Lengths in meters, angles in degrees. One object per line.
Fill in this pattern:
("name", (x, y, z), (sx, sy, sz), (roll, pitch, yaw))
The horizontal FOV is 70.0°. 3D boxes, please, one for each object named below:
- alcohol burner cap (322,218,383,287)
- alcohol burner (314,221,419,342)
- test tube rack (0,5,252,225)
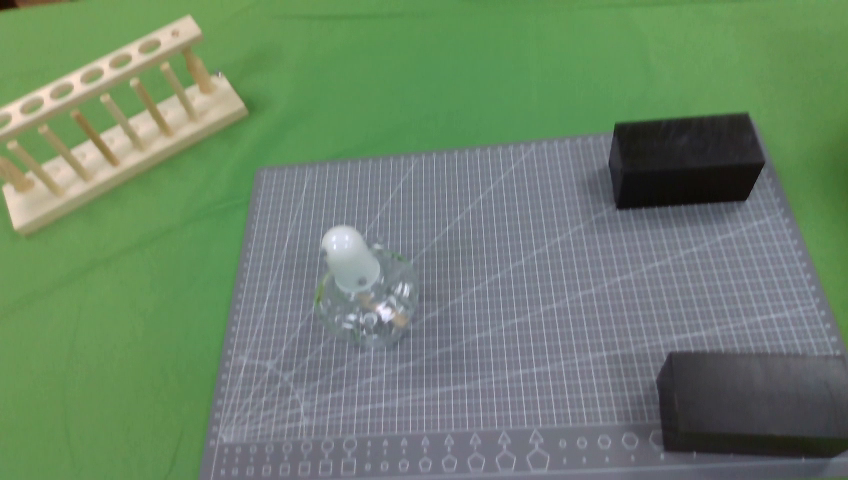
("alcohol burner cap", (-0.049, 0.006, 0.397), (0.034, 0.048, 0.033), (-7, 53, 11))
("alcohol burner", (-0.044, 0.025, 0.427), (0.078, 0.120, 0.077), (-4, 56, 7))
("test tube rack", (-0.299, -0.120, 0.577), (0.242, 0.086, 0.066), (-32, 59, -10))
